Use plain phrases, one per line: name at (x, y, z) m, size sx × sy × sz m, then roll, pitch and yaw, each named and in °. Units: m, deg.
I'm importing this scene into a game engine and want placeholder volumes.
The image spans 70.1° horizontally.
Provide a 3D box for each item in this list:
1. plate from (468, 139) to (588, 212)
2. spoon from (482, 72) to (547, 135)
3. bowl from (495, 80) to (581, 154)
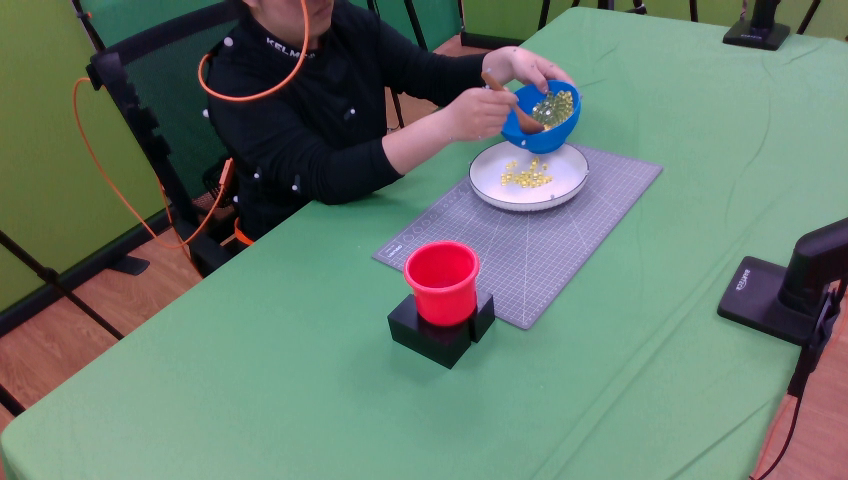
plate at (0.182, -0.112, 1.065) m, size 0.207 × 0.039 × 0.206 m, roll -5°, pitch 40°, yaw 5°
spoon at (0.145, -0.217, 0.980) m, size 0.041 × 0.195 × 0.021 m, roll -12°, pitch 59°, yaw 35°
bowl at (0.210, -0.206, 1.073) m, size 0.151 × 0.077 × 0.150 m, roll -14°, pitch 45°, yaw 16°
